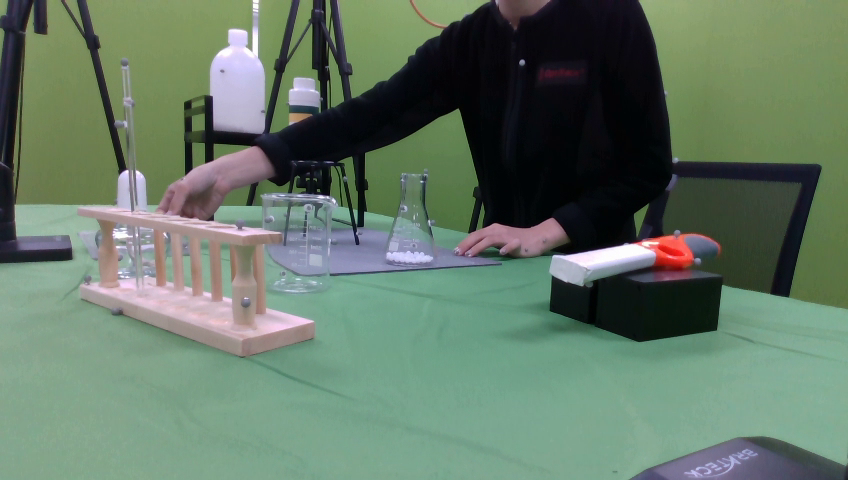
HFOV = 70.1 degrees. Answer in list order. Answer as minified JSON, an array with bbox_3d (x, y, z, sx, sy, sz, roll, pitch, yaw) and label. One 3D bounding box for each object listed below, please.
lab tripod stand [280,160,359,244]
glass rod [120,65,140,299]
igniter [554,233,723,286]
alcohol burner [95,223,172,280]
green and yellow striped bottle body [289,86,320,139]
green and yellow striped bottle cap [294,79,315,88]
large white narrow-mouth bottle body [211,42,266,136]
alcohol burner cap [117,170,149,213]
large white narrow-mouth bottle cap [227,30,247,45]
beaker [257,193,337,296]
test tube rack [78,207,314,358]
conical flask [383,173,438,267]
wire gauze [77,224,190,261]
[{"bbox_3d":[-0.176,-0.062,0.973,0.148,0.131,0.148,1,7,0],"label":"lab tripod stand"},{"bbox_3d":[-0.249,-0.047,0.513,0.008,0.199,0.008,-1,4,0],"label":"glass rod"},{"bbox_3d":[0.214,0.015,0.570,0.278,0.025,0.057,-5,22,-44],"label":"igniter"},{"bbox_3d":[-0.320,-0.016,0.667,0.078,0.119,0.078,0,7,0],"label":"alcohol burner"},{"bbox_3d":[-0.250,-0.272,1.261,0.063,0.119,0.063,3,8,0],"label":"green and yellow striped bottle body"},{"bbox_3d":[-0.248,-0.323,1.256,0.045,0.020,0.045,4,9,0],"label":"green and yellow striped bottle cap"},{"bbox_3d":[-0.361,-0.303,1.176,0.102,0.194,0.102,1,7,0],"label":"large white narrow-mouth bottle body"},{"bbox_3d":[-0.320,-0.052,0.661,0.034,0.048,0.034,-3,0,0],"label":"alcohol burner cap"},{"bbox_3d":[-0.360,-0.389,1.166,0.038,0.024,0.037,1,7,0],"label":"large white narrow-mouth bottle cap"},{"bbox_3d":[-0.130,0.004,0.628,0.084,0.100,0.074,5,8,15],"label":"beaker"},{"bbox_3d":[-0.196,0.024,0.499,0.241,0.085,0.067,8,8,37],"label":"test tube rack"},{"bbox_3d":[-0.016,-0.029,0.808,0.075,0.122,0.075,2,8,0],"label":"conical flask"},{"bbox_3d":[-0.394,0.000,0.824,0.126,0.011,0.121,-10,27,-34],"label":"wire gauze"}]
